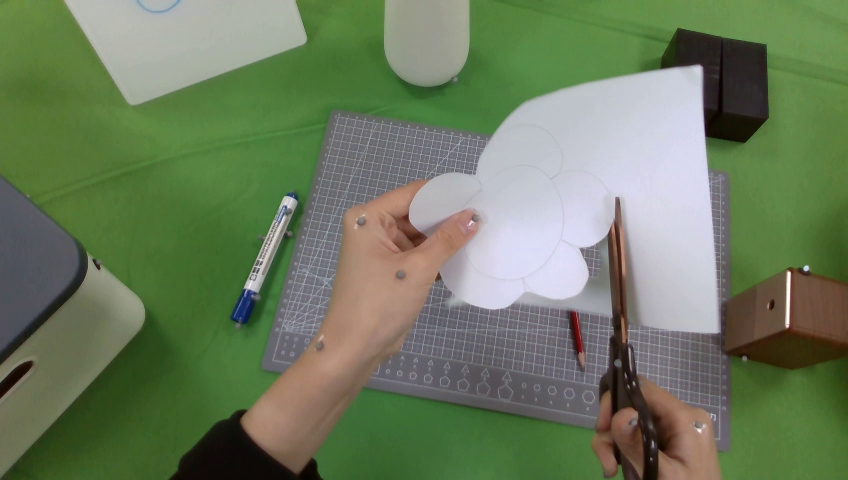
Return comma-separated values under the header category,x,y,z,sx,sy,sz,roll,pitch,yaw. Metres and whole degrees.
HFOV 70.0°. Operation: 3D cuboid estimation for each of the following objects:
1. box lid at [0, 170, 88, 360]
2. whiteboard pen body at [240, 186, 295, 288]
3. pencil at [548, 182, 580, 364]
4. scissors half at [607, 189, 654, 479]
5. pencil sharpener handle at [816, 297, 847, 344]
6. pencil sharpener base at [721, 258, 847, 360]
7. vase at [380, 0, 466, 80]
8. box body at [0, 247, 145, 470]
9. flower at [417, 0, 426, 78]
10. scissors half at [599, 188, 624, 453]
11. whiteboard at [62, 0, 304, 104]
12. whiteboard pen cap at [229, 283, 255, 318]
category,x,y,z,sx,sy,sz,roll,pitch,yaw
box lid,-0.470,0.003,0.457,0.370,0.015,0.262,35,72,11
whiteboard pen body,-0.163,0.006,0.619,0.017,0.017,0.140,16,68,5
pencil,0.145,0.030,0.621,0.012,0.012,0.192,-4,71,-2
scissors half,0.117,0.057,0.352,0.013,0.040,0.174,-5,85,-2
pencil sharpener handle,0.388,0.077,0.548,0.030,0.068,0.035,14,63,1
pencil sharpener base,0.338,0.068,0.561,0.077,0.107,0.061,14,69,1
vase,-0.001,-0.258,0.627,0.098,0.201,0.097,0,68,0
box body,-0.469,0.031,0.526,0.362,0.161,0.253,35,73,11
flower,-0.005,-0.302,0.554,0.044,0.365,0.038,3,51,3
scissors half,0.117,0.054,0.374,0.013,0.040,0.176,-4,111,3
whiteboard,-0.286,-0.339,0.626,0.217,0.308,0.142,-23,52,-9
whiteboard pen cap,-0.178,0.059,0.597,0.018,0.018,0.033,15,65,5
